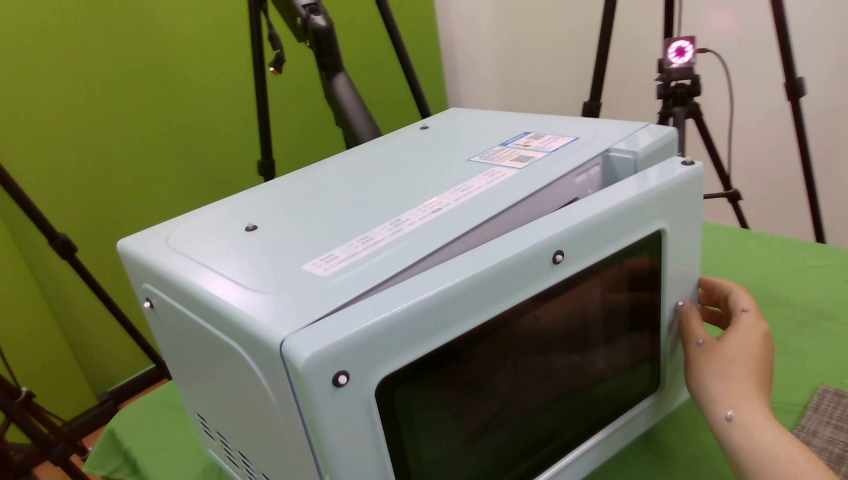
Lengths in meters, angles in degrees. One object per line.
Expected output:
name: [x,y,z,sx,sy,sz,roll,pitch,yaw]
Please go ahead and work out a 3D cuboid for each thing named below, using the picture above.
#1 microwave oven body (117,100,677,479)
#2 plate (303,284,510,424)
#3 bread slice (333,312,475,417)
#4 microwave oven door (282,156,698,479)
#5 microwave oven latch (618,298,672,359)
microwave oven body: [-0.002,0.052,0.616,0.442,0.262,0.323,-31,33,-35]
plate: [-0.016,0.113,0.612,0.209,0.038,0.207,-9,26,5]
bread slice: [-0.017,0.116,0.617,0.132,0.019,0.104,-26,31,-26]
microwave oven door: [0.086,0.102,0.467,0.356,0.245,0.039,-24,29,-27]
microwave oven latch: [0.241,0.096,0.660,0.079,0.030,0.030,-29,32,-33]
